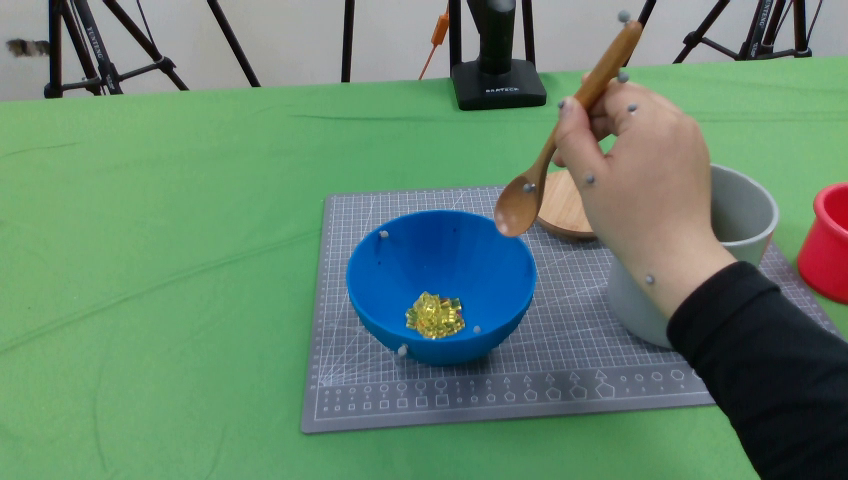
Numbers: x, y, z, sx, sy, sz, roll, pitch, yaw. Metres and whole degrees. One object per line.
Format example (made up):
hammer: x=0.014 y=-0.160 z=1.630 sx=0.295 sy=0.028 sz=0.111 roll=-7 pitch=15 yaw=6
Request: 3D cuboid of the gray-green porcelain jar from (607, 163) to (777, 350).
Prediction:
gray-green porcelain jar: x=0.209 y=0.018 z=0.493 sx=0.106 sy=0.127 sz=0.105 roll=-1 pitch=41 yaw=1

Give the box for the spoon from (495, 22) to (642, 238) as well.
spoon: x=0.085 y=-0.060 z=0.391 sx=0.022 sy=0.195 sz=0.041 roll=-9 pitch=63 yaw=-18

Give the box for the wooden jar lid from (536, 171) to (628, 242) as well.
wooden jar lid: x=0.162 y=-0.035 z=0.637 sx=0.108 sy=0.021 sz=0.107 roll=-1 pitch=40 yaw=1

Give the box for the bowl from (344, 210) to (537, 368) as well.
bowl: x=0.014 y=0.052 z=0.498 sx=0.151 sy=0.077 sz=0.150 roll=-1 pitch=41 yaw=1
